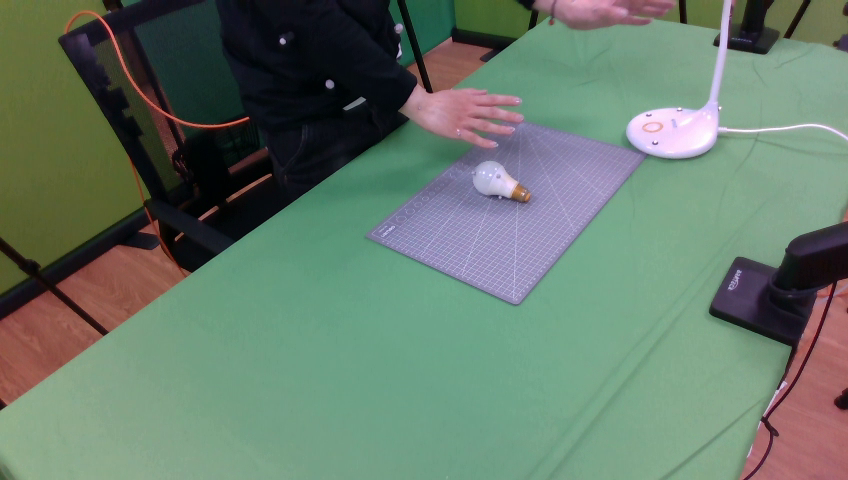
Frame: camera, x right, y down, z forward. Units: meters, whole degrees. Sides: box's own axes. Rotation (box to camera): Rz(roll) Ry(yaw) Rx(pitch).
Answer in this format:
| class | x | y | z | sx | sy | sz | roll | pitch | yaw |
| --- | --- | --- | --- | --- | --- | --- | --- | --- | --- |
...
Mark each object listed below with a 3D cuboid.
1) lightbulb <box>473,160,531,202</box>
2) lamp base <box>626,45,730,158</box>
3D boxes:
| class | x | y | z | sx | sy | sz | roll | pitch | yaw |
| --- | --- | --- | --- | --- | --- | --- | --- | --- | --- |
| lightbulb | 0.134 | -0.097 | 1.038 | 0.107 | 0.059 | 0.059 | 29 | 50 | 15 |
| lamp base | 0.467 | -0.262 | 1.085 | 0.179 | 0.181 | 0.159 | -5 | 41 | -1 |
